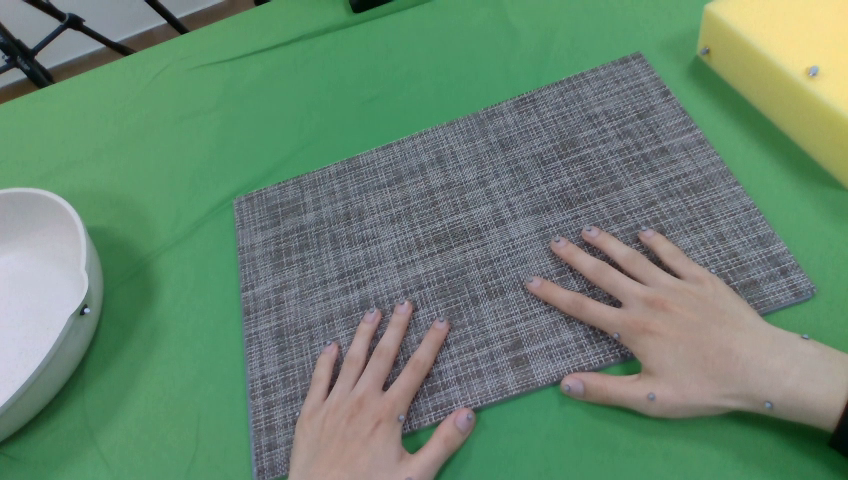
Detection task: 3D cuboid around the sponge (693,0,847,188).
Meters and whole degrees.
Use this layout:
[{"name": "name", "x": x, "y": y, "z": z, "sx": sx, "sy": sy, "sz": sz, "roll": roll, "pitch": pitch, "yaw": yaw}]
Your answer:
[{"name": "sponge", "x": 0.352, "y": -0.155, "z": 0.528, "sx": 0.118, "sy": 0.061, "sz": 0.204, "roll": -25, "pitch": 55, "yaw": -3}]

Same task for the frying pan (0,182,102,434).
[{"name": "frying pan", "x": -0.444, "y": 0.155, "z": 0.516, "sx": 0.306, "sy": 0.104, "sz": 0.483, "roll": -8, "pitch": 48, "yaw": 11}]
